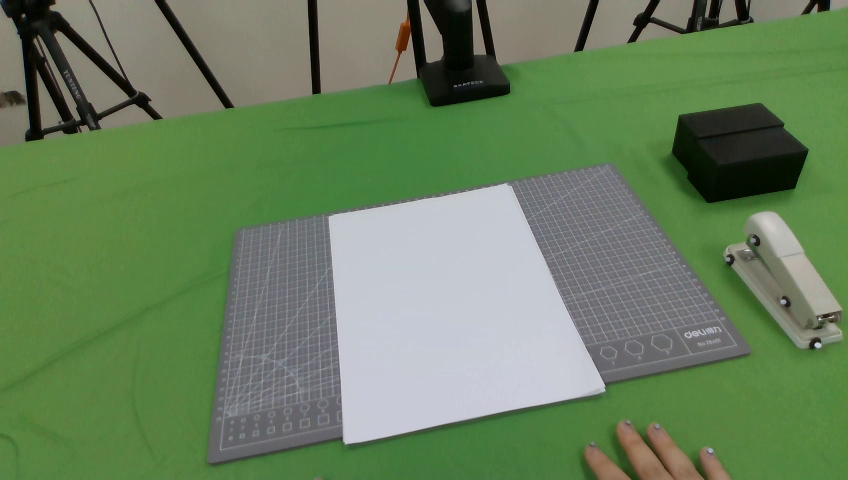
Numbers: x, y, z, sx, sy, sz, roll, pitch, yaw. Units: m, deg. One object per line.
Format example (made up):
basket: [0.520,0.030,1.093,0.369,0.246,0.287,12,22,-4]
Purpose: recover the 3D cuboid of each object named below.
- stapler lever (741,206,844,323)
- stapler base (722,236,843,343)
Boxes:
stapler lever: [0.319,0.017,0.527,0.027,0.040,0.116,-12,43,-3]
stapler base: [0.320,0.034,0.545,0.041,0.025,0.129,-12,43,-3]
